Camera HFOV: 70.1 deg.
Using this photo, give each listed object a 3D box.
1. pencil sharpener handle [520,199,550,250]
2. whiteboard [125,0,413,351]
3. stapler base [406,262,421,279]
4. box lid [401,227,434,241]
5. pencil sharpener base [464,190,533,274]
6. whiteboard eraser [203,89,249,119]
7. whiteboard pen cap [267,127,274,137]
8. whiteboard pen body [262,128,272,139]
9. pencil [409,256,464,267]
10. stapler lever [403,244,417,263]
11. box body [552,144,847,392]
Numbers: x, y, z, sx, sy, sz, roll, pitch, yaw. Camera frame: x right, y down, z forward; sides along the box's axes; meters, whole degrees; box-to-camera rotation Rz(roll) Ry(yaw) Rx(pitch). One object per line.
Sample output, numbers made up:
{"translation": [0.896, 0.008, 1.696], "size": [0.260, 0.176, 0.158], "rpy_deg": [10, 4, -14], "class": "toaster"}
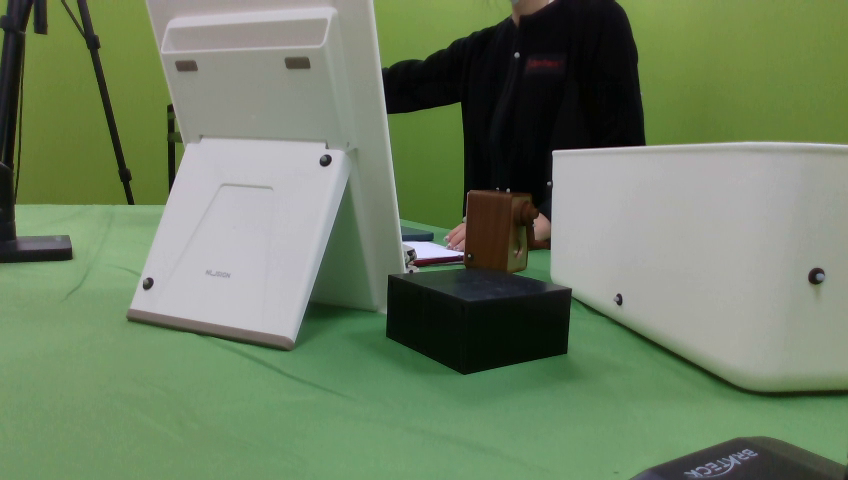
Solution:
{"translation": [0.147, -0.019, 0.785], "size": [0.030, 0.068, 0.036], "rpy_deg": [8, 26, 36], "class": "pencil sharpener handle"}
{"translation": [-0.151, -0.050, 0.471], "size": [0.216, 0.305, 0.144], "rpy_deg": [6, 27, 24], "class": "whiteboard"}
{"translation": [-0.069, 0.027, 0.759], "size": [0.130, 0.024, 0.041], "rpy_deg": [9, 13, 23], "class": "stapler base"}
{"translation": [-0.196, -0.015, 1.105], "size": [0.373, 0.015, 0.262], "rpy_deg": [-1, 7, -32], "class": "box lid"}
{"translation": [0.102, -0.012, 0.812], "size": [0.076, 0.107, 0.061], "rpy_deg": [8, 9, 36], "class": "pencil sharpener base"}
{"translation": [-0.425, -0.290, 1.303], "size": [0.055, 0.042, 0.113], "rpy_deg": [17, 2, 7], "class": "whiteboard eraser"}
{"translation": [-0.340, -0.239, 1.338], "size": [0.018, 0.018, 0.033], "rpy_deg": [1, -1, -14], "class": "whiteboard pen cap"}
{"translation": [-0.361, -0.246, 1.393], "size": [0.017, 0.017, 0.140], "rpy_deg": [0, 4, -20], "class": "whiteboard pen body"}
{"translation": [0.041, 0.027, 0.850], "size": [0.195, 0.012, 0.012], "rpy_deg": [-5, 10, -45], "class": "pencil"}
{"translation": [-0.066, 0.002, 0.755], "size": [0.117, 0.040, 0.027], "rpy_deg": [9, 13, 23], "class": "stapler lever"}
{"translation": [0.290, 0.002, 0.549], "size": [0.255, 0.160, 0.363], "rpy_deg": [2, 7, -10], "class": "box body"}
